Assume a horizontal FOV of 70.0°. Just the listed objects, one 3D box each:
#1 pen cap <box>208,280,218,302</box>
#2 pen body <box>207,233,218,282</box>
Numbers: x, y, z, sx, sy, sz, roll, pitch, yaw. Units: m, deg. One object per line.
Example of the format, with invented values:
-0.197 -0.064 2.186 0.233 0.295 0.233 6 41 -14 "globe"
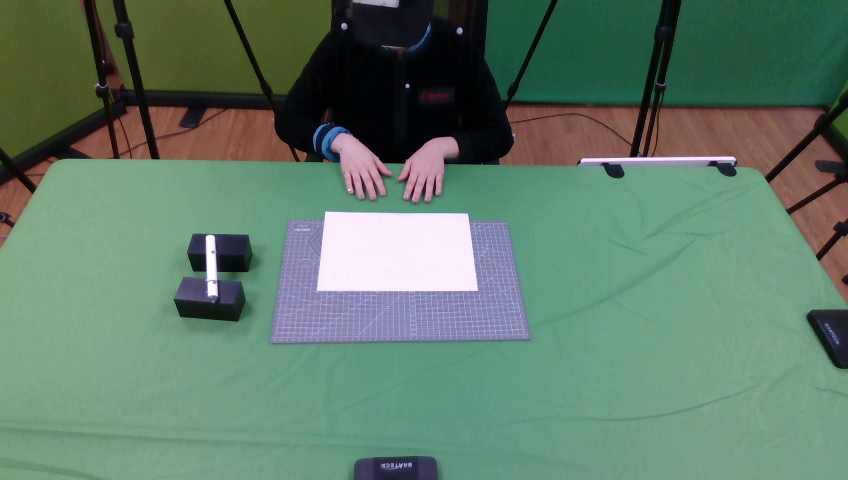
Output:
-0.356 0.086 1.021 0.017 0.017 0.038 -9 48 -12 "pen cap"
-0.371 0.042 1.062 0.017 0.017 0.143 -9 47 -12 "pen body"
